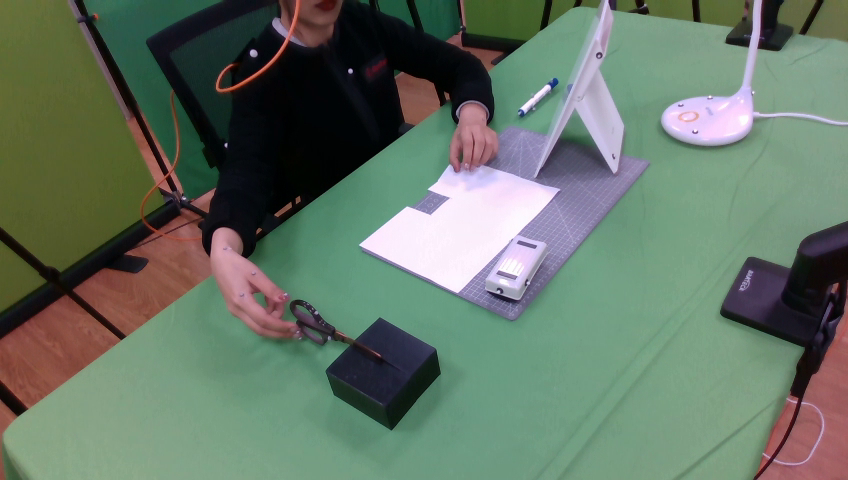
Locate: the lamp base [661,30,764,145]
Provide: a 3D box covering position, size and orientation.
[{"bbox_3d":[0.535,-0.287,1.096,0.179,0.181,0.159,-10,40,-4],"label":"lamp base"}]

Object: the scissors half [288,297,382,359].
[{"bbox_3d":[-0.120,0.117,0.798,0.174,0.040,0.013,25,43,30],"label":"scissors half"}]

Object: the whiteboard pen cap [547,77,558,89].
[{"bbox_3d":[0.279,-0.341,1.321,0.018,0.018,0.033,22,51,31],"label":"whiteboard pen cap"}]

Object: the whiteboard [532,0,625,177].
[{"bbox_3d":[0.320,-0.258,1.050,0.144,0.306,0.217,21,45,5],"label":"whiteboard"}]

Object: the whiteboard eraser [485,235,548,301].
[{"bbox_3d":[0.137,0.042,0.887,0.055,0.042,0.113,15,46,27],"label":"whiteboard eraser"}]

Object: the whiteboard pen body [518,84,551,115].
[{"bbox_3d":[0.242,-0.306,1.289,0.017,0.017,0.141,23,52,32],"label":"whiteboard pen body"}]

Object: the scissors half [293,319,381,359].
[{"bbox_3d":[-0.117,0.134,0.809,0.173,0.040,0.013,9,39,43],"label":"scissors half"}]
